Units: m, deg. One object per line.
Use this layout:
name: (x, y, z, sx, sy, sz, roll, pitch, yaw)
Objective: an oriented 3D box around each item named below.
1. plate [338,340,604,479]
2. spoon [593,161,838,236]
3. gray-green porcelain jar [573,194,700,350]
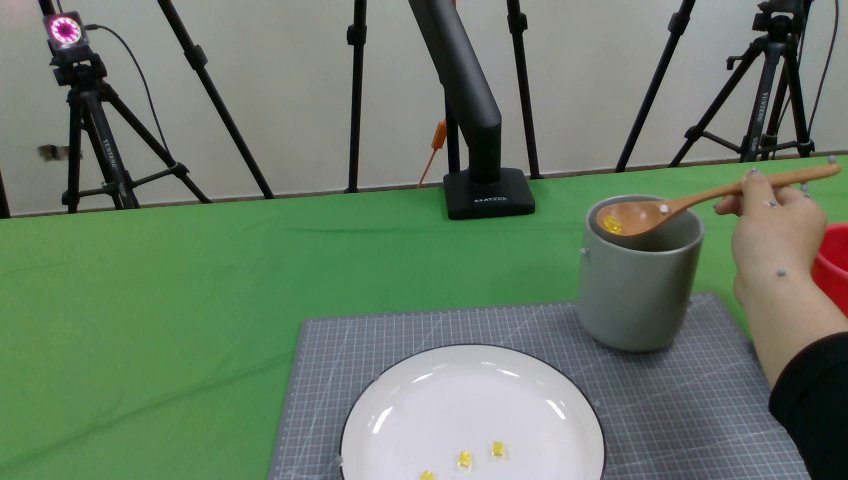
plate: (0.037, 0.165, 0.490, 0.207, 0.039, 0.205, -3, 34, 2)
spoon: (0.242, -0.038, 0.513, 0.193, 0.022, 0.041, -16, 41, 20)
gray-green porcelain jar: (0.201, 0.035, 0.589, 0.106, 0.127, 0.105, -3, 34, 2)
